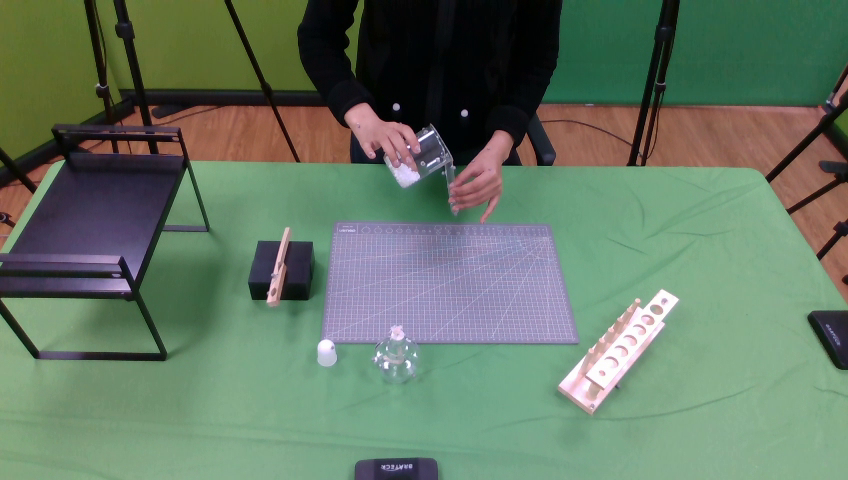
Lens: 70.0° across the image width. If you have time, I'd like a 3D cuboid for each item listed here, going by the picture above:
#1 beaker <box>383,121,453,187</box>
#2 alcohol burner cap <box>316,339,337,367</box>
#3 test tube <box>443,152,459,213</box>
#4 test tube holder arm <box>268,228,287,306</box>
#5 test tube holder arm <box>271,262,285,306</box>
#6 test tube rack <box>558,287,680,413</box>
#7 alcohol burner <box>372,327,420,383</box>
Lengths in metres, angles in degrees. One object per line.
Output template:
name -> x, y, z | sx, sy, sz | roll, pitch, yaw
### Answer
beaker -> -0.012, -0.140, 1.018 | 0.100, 0.084, 0.073 | -31, 61, 4
alcohol burner cap -> -0.161, 0.182, 0.995 | 0.034, 0.048, 0.033 | 2, 47, -1
test tube -> 0.050, -0.102, 1.108 | 0.017, 0.151, 0.017 | -4, 51, 6
test tube holder arm -> -0.258, 0.043, 1.071 | 0.013, 0.015, 0.177 | -6, 46, 1
test tube holder arm -> -0.250, 0.075, 1.040 | 0.010, 0.015, 0.087 | -5, 46, 2
test tube rack -> 0.326, 0.170, 1.009 | 0.066, 0.085, 0.242 | 36, 54, 26
alcohol burner -> -0.044, 0.175, 0.961 | 0.078, 0.120, 0.077 | 1, 47, -1
